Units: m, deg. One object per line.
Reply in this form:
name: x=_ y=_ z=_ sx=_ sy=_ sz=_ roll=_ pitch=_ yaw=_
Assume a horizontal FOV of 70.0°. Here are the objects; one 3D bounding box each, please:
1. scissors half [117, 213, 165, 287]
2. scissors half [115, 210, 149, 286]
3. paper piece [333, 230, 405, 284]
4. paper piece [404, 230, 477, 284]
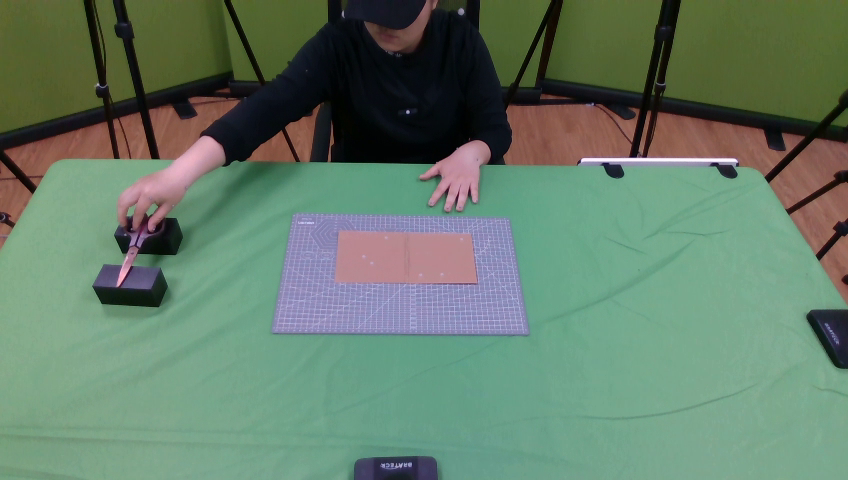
scissors half: x=-0.507 y=0.016 z=1.083 sx=0.040 sy=0.013 sz=0.174 roll=18 pitch=47 yaw=-8
scissors half: x=-0.525 y=0.012 z=1.078 sx=0.040 sy=0.013 sz=0.174 roll=11 pitch=47 yaw=-21
paper piece: x=-0.104 y=0.031 z=1.165 sx=0.135 sy=0.004 sz=0.135 roll=2 pitch=47 yaw=-4
paper piece: x=0.030 y=0.033 z=1.174 sx=0.138 sy=0.009 sz=0.135 roll=2 pitch=49 yaw=-3
